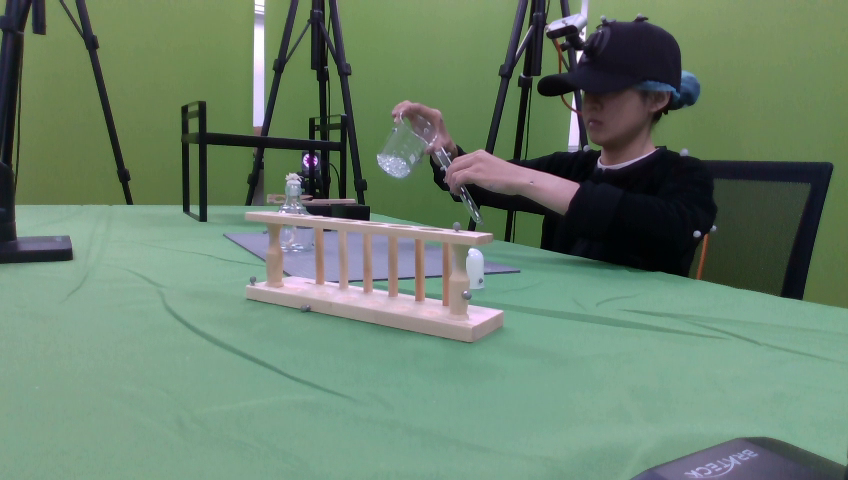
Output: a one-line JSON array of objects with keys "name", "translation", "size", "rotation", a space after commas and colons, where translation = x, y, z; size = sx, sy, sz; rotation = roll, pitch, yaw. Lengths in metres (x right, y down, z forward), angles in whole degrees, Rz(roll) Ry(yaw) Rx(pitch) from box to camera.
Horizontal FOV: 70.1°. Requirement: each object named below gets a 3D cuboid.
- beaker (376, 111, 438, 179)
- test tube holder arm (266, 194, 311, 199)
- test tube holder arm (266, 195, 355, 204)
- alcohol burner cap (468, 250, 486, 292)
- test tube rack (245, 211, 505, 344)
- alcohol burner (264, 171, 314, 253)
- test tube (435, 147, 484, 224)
[{"name": "beaker", "translation": [-0.032, -0.161, 1.057], "size": [0.074, 0.100, 0.083], "rotation": [-8, 55, -48]}, {"name": "test tube holder arm", "translation": [-0.262, -0.084, 1.173], "size": [0.088, 0.010, 0.015], "rotation": [-3, 2, -30]}, {"name": "test tube holder arm", "translation": [-0.222, -0.081, 1.196], "size": [0.179, 0.013, 0.015], "rotation": [-4, 3, -30]}, {"name": "alcohol burner cap", "translation": [0.056, 0.035, 0.690], "size": [0.034, 0.048, 0.034], "rotation": [2, 7, 0]}, {"name": "test tube rack", "translation": [-0.049, 0.025, 0.547], "size": [0.241, 0.085, 0.067], "rotation": [7, 8, 29]}, {"name": "alcohol burner", "translation": [-0.194, -0.042, 0.888], "size": [0.078, 0.119, 0.078], "rotation": [3, 5, 0]}, {"name": "test tube", "translation": [0.057, -0.089, 0.975], "size": [0.017, 0.149, 0.017], "rotation": [-24, -21, -10]}]
